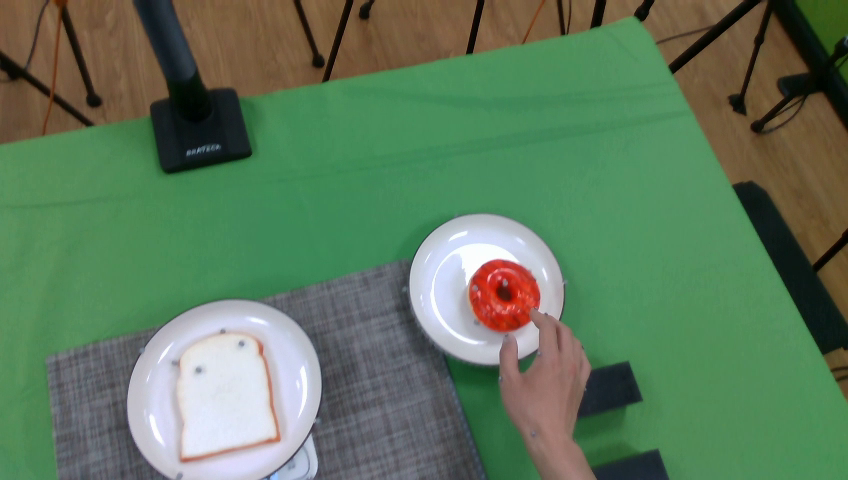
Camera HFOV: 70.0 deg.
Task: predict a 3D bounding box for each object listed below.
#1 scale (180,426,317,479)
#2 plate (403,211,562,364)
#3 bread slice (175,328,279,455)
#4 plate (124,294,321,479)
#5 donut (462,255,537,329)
[{"bbox_3d":[-0.218,0.192,0.704,0.149,0.032,0.199,-15,71,-13],"label":"scale"},{"bbox_3d":[0.075,0.063,0.796,0.208,0.039,0.206,3,67,-6],"label":"plate"},{"bbox_3d":[-0.227,0.164,0.680,0.105,0.019,0.130,-11,70,-13],"label":"bread slice"},{"bbox_3d":[-0.221,0.163,0.679,0.209,0.038,0.207,3,68,-7],"label":"plate"},{"bbox_3d":[0.097,0.067,0.784,0.099,0.048,0.098,3,70,-9],"label":"donut"}]
